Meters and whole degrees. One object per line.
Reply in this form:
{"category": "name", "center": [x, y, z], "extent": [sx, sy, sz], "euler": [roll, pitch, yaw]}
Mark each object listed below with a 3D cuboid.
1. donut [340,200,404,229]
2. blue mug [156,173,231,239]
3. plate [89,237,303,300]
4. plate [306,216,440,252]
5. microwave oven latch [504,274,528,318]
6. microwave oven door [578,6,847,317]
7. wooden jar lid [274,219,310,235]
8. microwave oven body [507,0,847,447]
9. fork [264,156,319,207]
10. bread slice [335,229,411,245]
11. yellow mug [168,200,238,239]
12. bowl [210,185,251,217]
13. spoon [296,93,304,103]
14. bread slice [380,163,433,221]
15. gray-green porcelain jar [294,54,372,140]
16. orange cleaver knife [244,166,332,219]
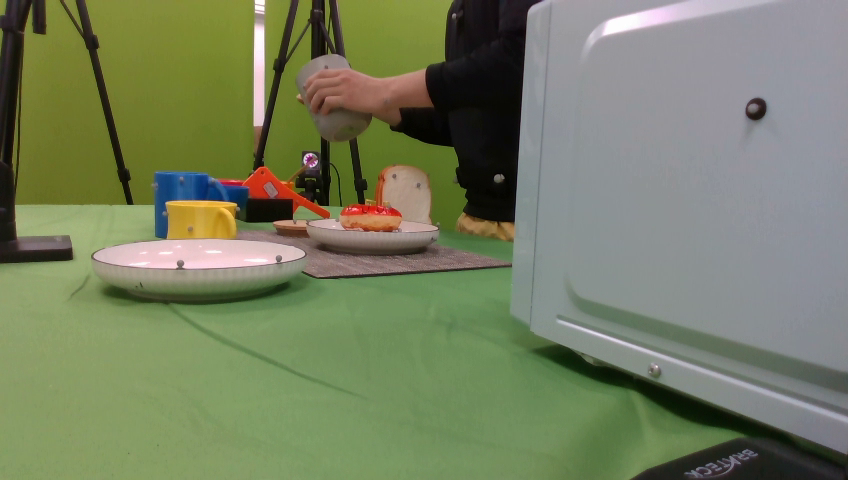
{"category": "donut", "center": [-0.081, -0.038, 0.945], "extent": [0.099, 0.048, 0.099], "euler": [1, 4, 0]}
{"category": "blue mug", "center": [-0.381, -0.057, 1.004], "extent": [0.117, 0.106, 0.082], "euler": [0, 8, -12]}
{"category": "plate", "center": [-0.233, 0.029, 0.637], "extent": [0.208, 0.039, 0.207], "euler": [2, 7, 0]}
{"category": "plate", "center": [-0.079, -0.011, 0.950], "extent": [0.209, 0.038, 0.209], "euler": [2, 8, 0]}
{"category": "microwave oven latch", "center": [0.100, 0.041, 0.471], "extent": [0.079, 0.029, 0.030], "euler": [-1, 8, -28]}
{"category": "microwave oven door", "center": [0.294, -0.067, 0.570], "extent": [0.358, 0.243, 0.039], "euler": [-3, 9, -31]}
{"category": "wooden jar lid", "center": [-0.213, -0.023, 1.080], "extent": [0.108, 0.020, 0.108], "euler": [3, 7, 0]}
{"category": "microwave oven body", "center": [0.331, -0.042, 0.425], "extent": [0.444, 0.260, 0.324], "euler": [-2, 8, -31]}
{"category": "fork", "center": [-0.331, -0.144, 1.505], "extent": [0.207, 0.018, 0.028], "euler": [-42, -20, 22]}
{"category": "bread slice", "center": [-0.074, -0.005, 0.938], "extent": [0.105, 0.019, 0.131], "euler": [-1, 4, -19]}
{"category": "yellow mug", "center": [-0.320, -0.023, 0.904], "extent": [0.130, 0.064, 0.100], "euler": [9, 10, 36]}
{"category": "bowl", "center": [-0.408, -0.064, 1.155], "extent": [0.151, 0.077, 0.151], "euler": [2, 8, 0]}
{"category": "spoon", "center": [-0.241, -0.324, 1.265], "extent": [0.042, 0.021, 0.193], "euler": [13, 34, -15]}
{"category": "bread slice", "center": [-0.035, -0.076, 1.124], "extent": [0.107, 0.134, 0.018], "euler": [-3, 1, -26]}
{"category": "gray-green porcelain jar", "center": [-0.161, -0.254, 1.097], "extent": [0.106, 0.126, 0.106], "euler": [-26, -13, -6]}
{"category": "orange cleaver knife", "center": [-0.301, -0.089, 1.351], "extent": [0.212, 0.077, 0.012], "euler": [32, -11, -34]}
